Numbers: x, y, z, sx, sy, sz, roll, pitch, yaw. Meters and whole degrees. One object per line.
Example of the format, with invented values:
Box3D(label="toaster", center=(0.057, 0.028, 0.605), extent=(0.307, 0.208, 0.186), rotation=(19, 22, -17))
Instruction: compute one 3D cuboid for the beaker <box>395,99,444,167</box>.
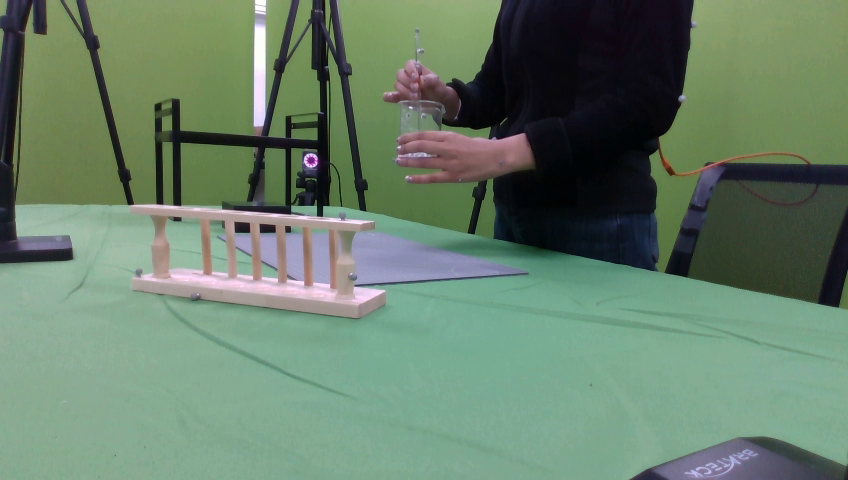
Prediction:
Box3D(label="beaker", center=(-0.007, -0.167, 0.957), extent=(0.084, 0.100, 0.073), rotation=(0, 5, -28))

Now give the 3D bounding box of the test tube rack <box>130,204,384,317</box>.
Box3D(label="test tube rack", center=(-0.163, 0.013, 0.589), extent=(0.242, 0.085, 0.067), rotation=(4, 9, 17))

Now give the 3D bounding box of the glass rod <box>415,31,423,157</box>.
Box3D(label="glass rod", center=(-0.008, -0.233, 0.969), extent=(0.008, 0.199, 0.008), rotation=(-2, 4, 0))
